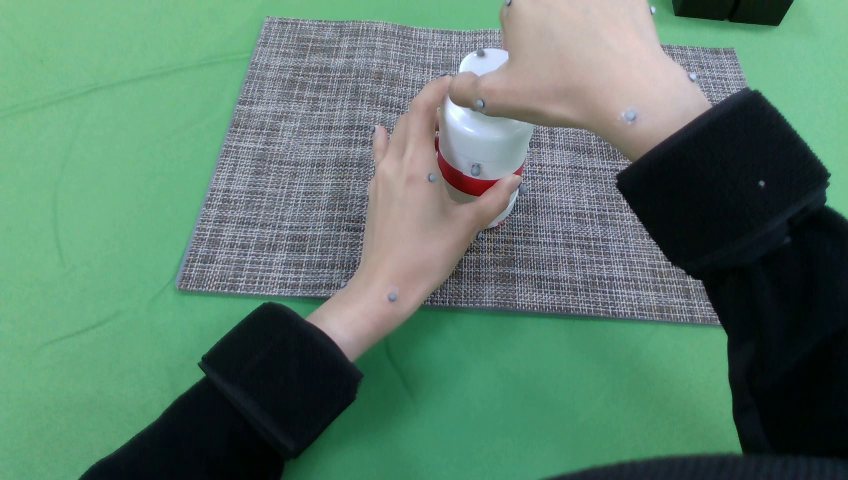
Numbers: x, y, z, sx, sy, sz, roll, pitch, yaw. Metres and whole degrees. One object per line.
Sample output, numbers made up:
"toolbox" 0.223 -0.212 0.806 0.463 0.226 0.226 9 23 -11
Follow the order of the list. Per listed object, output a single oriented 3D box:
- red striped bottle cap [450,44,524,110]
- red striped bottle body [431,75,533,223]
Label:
"red striped bottle cap" 0.039 -0.100 0.370 0.044 0.018 0.044 5 53 -6
"red striped bottle body" 0.038 -0.070 0.415 0.063 0.120 0.062 1 56 -1
